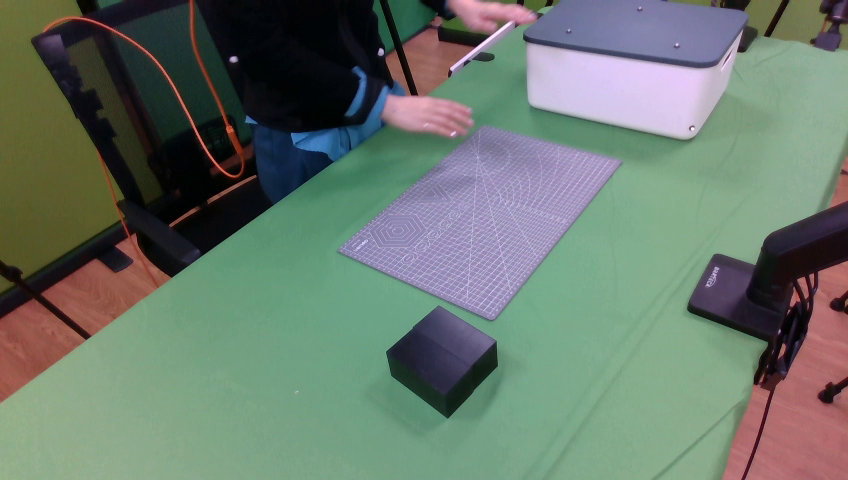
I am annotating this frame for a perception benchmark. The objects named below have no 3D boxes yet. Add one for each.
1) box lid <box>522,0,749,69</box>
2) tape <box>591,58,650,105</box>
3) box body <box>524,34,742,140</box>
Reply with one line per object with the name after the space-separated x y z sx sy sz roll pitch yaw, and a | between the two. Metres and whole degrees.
0.405 -0.409 1.163 0.369 0.015 0.264 20 47 29 | box lid
0.407 -0.331 1.259 0.117 0.053 0.116 -2 40 2 | tape
0.412 -0.354 1.212 0.361 0.161 0.254 20 48 29 | box body
